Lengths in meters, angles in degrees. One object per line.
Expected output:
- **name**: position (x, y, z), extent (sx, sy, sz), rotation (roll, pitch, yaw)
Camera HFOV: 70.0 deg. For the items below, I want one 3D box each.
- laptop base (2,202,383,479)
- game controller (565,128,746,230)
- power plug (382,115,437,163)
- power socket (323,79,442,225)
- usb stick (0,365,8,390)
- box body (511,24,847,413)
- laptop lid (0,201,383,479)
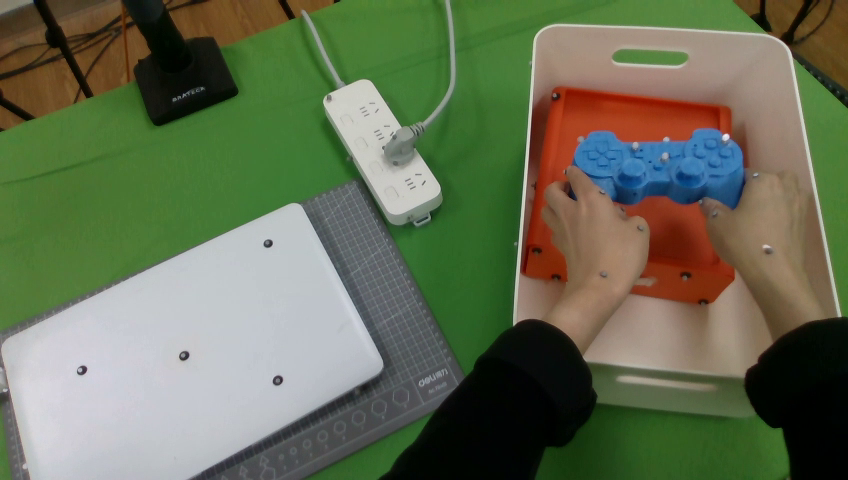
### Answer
- **laptop base**: position (-0.248, 0.122, 0.646), extent (0.354, 0.023, 0.233), rotation (-27, 68, -10)
- **game controller**: position (0.206, -0.059, 0.546), extent (0.155, 0.052, 0.096), rotation (1, 57, 7)
- **power plug**: position (-0.014, -0.113, 0.720), extent (0.072, 0.053, 0.035), rotation (-16, 61, -6)
- **power socket**: position (-0.055, -0.114, 0.749), extent (0.072, 0.033, 0.224), rotation (-26, 63, -11)
- **usb stick**: position (-0.455, 0.146, 0.632), extent (0.059, 0.027, 0.021), rotation (-23, 58, -12)
- **box body**: position (0.221, -0.024, 0.611), extent (0.254, 0.162, 0.361), rotation (5, 63, 6)
- **laptop lid**: position (-0.247, 0.119, 0.634), extent (0.357, 0.013, 0.239), rotation (-26, 66, -9)
